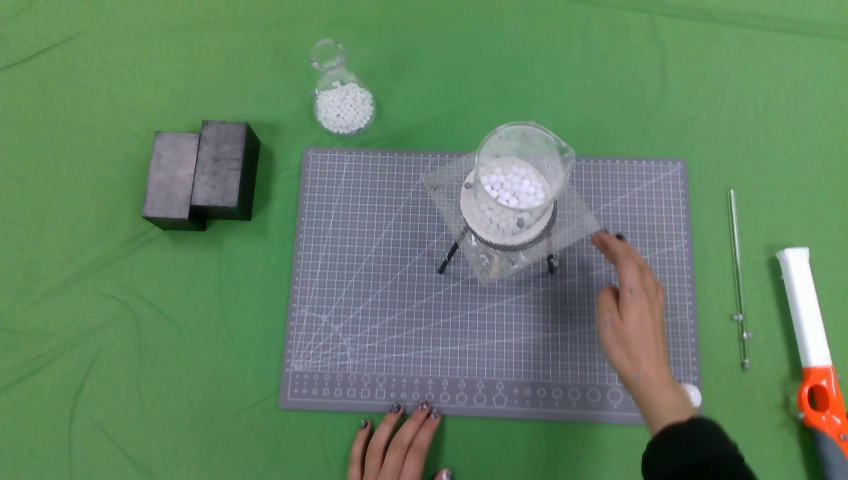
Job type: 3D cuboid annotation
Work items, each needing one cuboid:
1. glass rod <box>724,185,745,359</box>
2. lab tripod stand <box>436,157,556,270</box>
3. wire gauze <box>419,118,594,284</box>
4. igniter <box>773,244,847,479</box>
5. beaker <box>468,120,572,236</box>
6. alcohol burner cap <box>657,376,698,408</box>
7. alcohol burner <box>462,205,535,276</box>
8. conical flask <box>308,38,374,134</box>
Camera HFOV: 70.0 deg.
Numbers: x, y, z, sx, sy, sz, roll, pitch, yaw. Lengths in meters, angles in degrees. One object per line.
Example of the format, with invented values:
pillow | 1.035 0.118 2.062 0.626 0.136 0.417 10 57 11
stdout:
glass rod | 0.348 0.032 0.679 0.008 0.008 0.198 2 76 1
lab tripod stand | 0.077 -0.017 0.625 0.148 0.132 0.147 0 78 1
wire gauze | 0.077 -0.037 0.562 0.125 0.011 0.121 -26 81 -7
igniter | 0.415 0.140 0.642 0.057 0.025 0.275 -2 76 -11
beaker | 0.077 -0.048 0.515 0.084 0.100 0.073 -18 78 -4
alcohol burner cap | 0.266 0.157 0.628 0.034 0.048 0.033 0 76 1
alcohol burner | 0.079 -0.004 0.632 0.078 0.119 0.077 0 74 -1
conical flask | -0.098 -0.174 0.673 0.075 0.122 0.075 0 76 1
